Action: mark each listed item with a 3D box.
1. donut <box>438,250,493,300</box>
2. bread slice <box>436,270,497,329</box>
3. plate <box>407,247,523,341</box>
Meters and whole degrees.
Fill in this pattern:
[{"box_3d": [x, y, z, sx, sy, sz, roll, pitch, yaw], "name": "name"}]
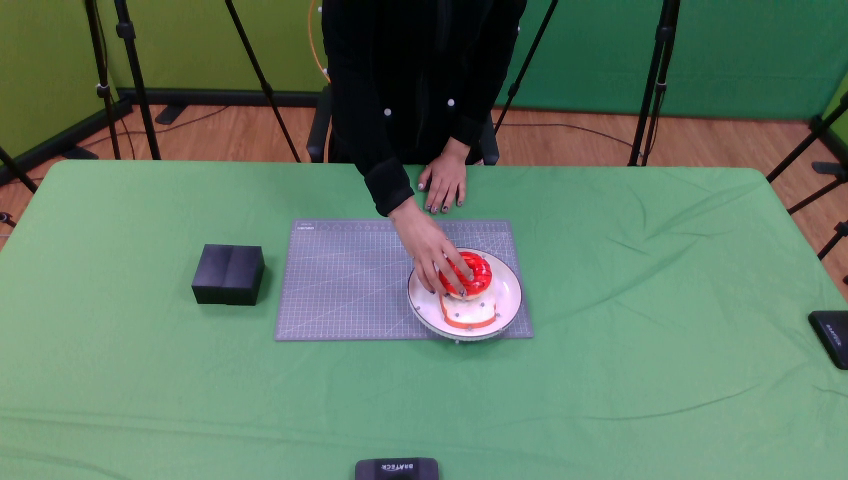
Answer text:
[{"box_3d": [0.074, 0.061, 1.077, 0.099, 0.048, 0.098, 0, 52, 0], "name": "donut"}, {"box_3d": [0.081, 0.102, 1.091, 0.105, 0.019, 0.130, -3, 47, -5], "name": "bread slice"}, {"box_3d": [0.073, 0.099, 1.093, 0.209, 0.038, 0.208, 2, 46, -2], "name": "plate"}]
